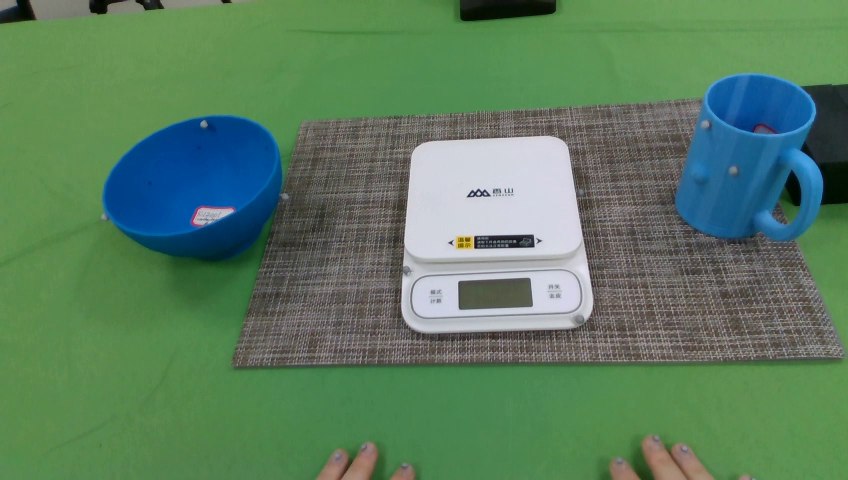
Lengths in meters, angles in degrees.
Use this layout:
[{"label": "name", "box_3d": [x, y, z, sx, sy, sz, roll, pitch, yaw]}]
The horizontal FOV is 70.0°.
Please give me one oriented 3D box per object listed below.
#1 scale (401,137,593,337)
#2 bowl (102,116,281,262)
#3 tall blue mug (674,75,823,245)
[{"label": "scale", "box_3d": [0.057, -0.011, 0.515, 0.148, 0.032, 0.199, -3, 50, 6]}, {"label": "bowl", "box_3d": [-0.193, -0.033, 0.543, 0.151, 0.077, 0.150, -4, 49, 5]}, {"label": "tall blue mug", "box_3d": [0.260, -0.056, 0.474, 0.106, 0.109, 0.077, 31, 59, 30]}]
